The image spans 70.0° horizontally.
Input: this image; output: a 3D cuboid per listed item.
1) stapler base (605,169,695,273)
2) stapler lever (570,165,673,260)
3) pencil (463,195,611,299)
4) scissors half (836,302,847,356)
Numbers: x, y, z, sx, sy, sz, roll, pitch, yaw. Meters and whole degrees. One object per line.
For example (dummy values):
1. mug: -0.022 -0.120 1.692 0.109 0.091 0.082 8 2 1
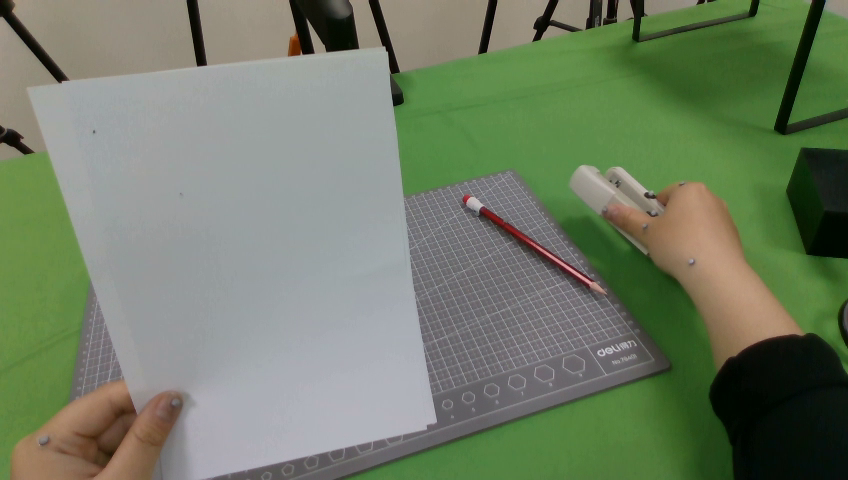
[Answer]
1. stapler base: 0.196 -0.024 0.566 0.024 0.041 0.129 12 31 -29
2. stapler lever: 0.175 -0.029 0.551 0.040 0.027 0.116 11 32 -30
3. pencil: 0.100 0.003 0.570 0.012 0.012 0.192 -29 45 -24
4. scissors half: 0.353 0.021 0.475 0.040 0.013 0.174 11 65 28
